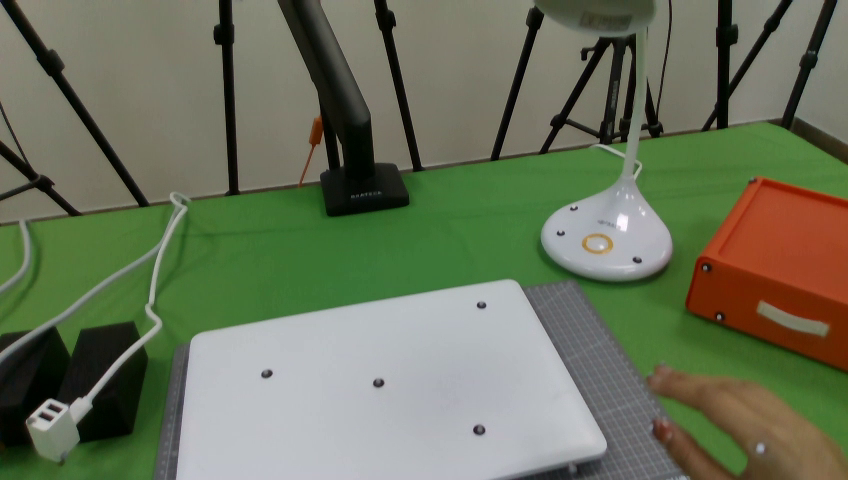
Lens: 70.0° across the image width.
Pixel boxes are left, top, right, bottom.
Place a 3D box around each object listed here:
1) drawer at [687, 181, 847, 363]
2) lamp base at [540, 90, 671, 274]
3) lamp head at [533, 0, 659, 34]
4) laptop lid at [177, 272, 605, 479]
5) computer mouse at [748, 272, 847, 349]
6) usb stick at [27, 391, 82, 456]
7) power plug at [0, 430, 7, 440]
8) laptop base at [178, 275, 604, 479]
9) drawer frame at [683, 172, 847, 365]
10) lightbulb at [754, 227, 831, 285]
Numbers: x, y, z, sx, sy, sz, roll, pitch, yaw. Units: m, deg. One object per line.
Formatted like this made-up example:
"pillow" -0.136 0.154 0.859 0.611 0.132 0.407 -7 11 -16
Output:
"drawer" 0.422 0.026 0.660 0.193 0.074 0.211 22 40 31
"lamp base" 0.230 -0.079 0.731 0.160 0.182 0.178 13 36 21
"lamp head" 0.159 -0.253 0.511 0.111 0.113 0.122 18 78 27
"laptop lid" -0.041 0.129 0.564 0.357 0.013 0.239 -8 38 -9
"computer mouse" 0.397 0.070 0.621 0.116 0.041 0.062 21 40 22
"usb stick" -0.299 0.152 0.494 0.021 0.059 0.027 17 37 8
"power plug" -0.372 0.149 0.519 0.035 0.053 0.072 4 51 18
"laptop base" -0.041 0.138 0.573 0.355 0.023 0.233 -9 39 -10
"drawer frame" 0.422 0.023 0.662 0.200 0.083 0.213 22 40 30
"lightbulb" 0.417 0.022 0.680 0.059 0.060 0.107 -1 19 1
